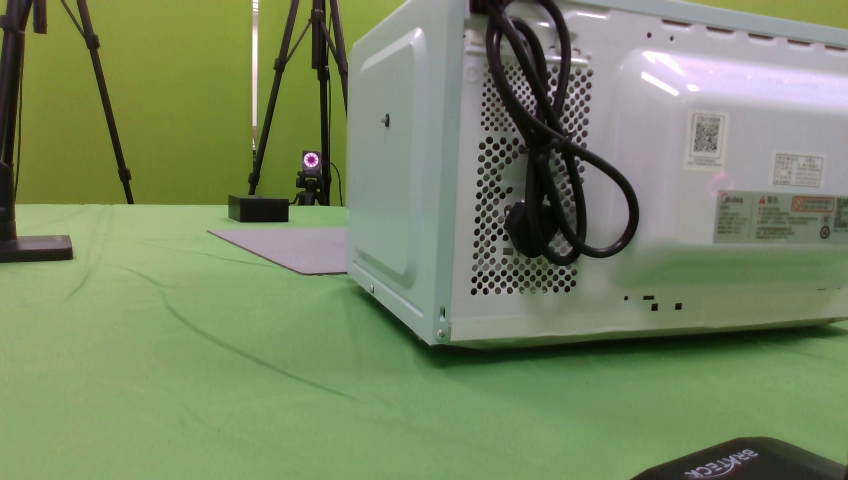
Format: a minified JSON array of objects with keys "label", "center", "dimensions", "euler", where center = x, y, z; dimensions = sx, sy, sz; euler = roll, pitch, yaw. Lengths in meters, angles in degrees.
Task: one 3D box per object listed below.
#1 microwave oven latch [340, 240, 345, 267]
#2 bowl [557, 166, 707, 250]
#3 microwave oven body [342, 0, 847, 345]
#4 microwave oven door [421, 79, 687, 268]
[{"label":"microwave oven latch","center":[-0.052,0.016,0.662],"dimensions":[0.079,0.029,0.030],"euler":[1,7,-18]},{"label":"bowl","center":[0.214,-0.035,0.640],"dimensions":[0.151,0.077,0.151],"euler":[2,11,0]},{"label":"microwave oven body","center":[0.169,-0.060,0.573],"dimensions":[0.444,0.260,0.324],"euler":[1,7,-20]},{"label":"microwave oven door","center":[0.168,-0.100,0.850],"dimensions":[0.354,0.243,0.039],"euler":[6,8,24]}]
